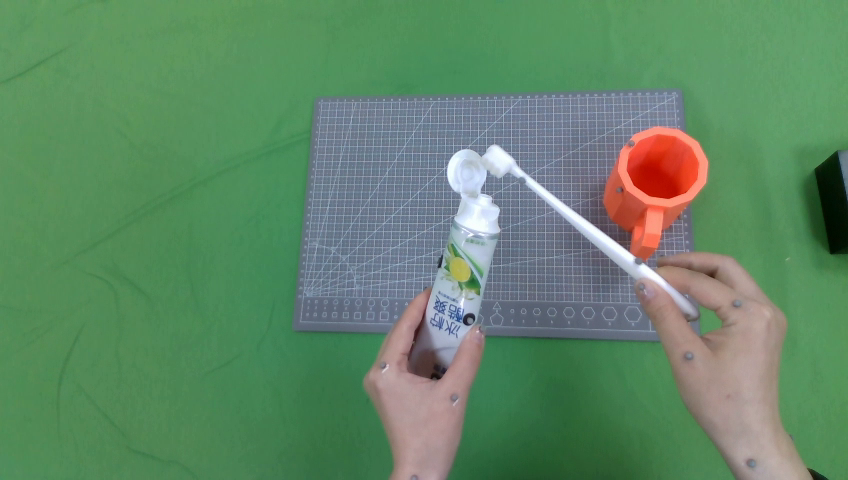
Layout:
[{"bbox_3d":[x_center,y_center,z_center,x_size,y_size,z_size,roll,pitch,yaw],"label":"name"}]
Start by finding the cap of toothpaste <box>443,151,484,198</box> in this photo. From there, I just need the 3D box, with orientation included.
[{"bbox_3d":[0.030,-0.048,0.447,0.037,0.011,0.037,-3,95,-32],"label":"cap of toothpaste"}]

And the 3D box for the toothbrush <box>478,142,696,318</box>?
[{"bbox_3d":[0.109,-0.007,0.414,0.181,0.014,0.016,40,51,9],"label":"toothbrush"}]

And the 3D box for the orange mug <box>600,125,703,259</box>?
[{"bbox_3d":[0.236,-0.046,0.642,0.083,0.101,0.125,9,72,10],"label":"orange mug"}]

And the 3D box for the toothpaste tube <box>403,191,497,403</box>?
[{"bbox_3d":[0.021,0.041,0.457,0.054,0.034,0.165,24,111,32],"label":"toothpaste tube"}]
